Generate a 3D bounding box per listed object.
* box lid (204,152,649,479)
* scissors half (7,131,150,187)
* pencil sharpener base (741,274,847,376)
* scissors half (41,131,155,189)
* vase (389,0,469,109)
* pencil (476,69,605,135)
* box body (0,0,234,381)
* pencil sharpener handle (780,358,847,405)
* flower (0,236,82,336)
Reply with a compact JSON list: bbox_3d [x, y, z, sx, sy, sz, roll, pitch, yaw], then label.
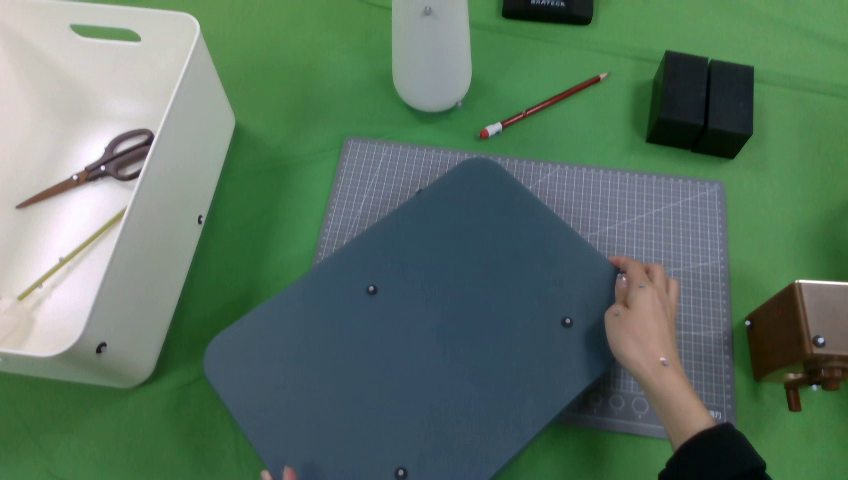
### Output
[{"bbox_3d":[0.006,0.085,0.578,0.371,0.015,0.261,-37,68,-16],"label":"box lid"},{"bbox_3d":[-0.399,-0.090,0.706,0.175,0.040,0.012,-20,29,-3],"label":"scissors half"},{"bbox_3d":[0.357,0.088,0.574,0.061,0.108,0.076,3,65,3],"label":"pencil sharpener base"},{"bbox_3d":[-0.394,-0.077,0.713,0.175,0.040,0.012,-25,23,1],"label":"scissors half"},{"bbox_3d":[0.004,-0.240,0.682,0.098,0.201,0.097,-1,64,2],"label":"vase"},{"bbox_3d":[0.148,-0.175,0.753,0.194,0.012,0.012,-28,67,-13],"label":"pencil"},{"bbox_3d":[-0.371,-0.053,0.621,0.254,0.161,0.361,6,65,4],"label":"box body"},{"bbox_3d":[0.349,0.128,0.541,0.036,0.068,0.030,10,65,-11],"label":"pencil sharpener handle"},{"bbox_3d":[-0.374,-0.023,0.703,0.038,0.044,0.359,2,41,28],"label":"flower"}]
